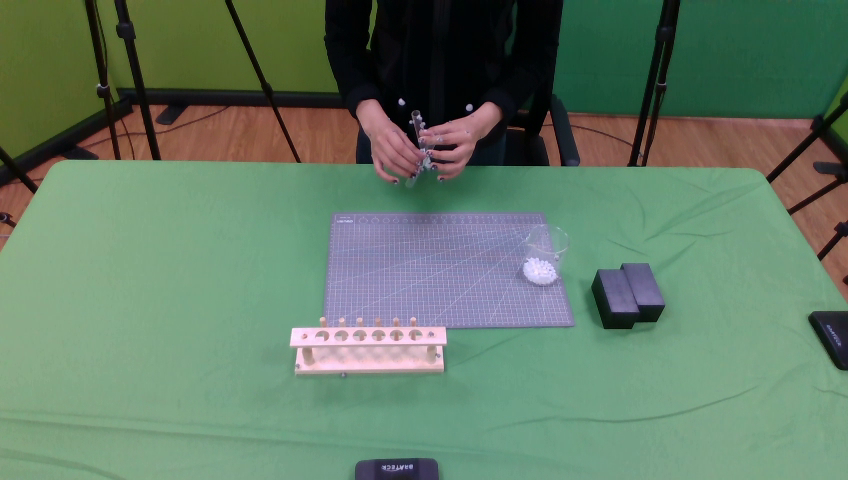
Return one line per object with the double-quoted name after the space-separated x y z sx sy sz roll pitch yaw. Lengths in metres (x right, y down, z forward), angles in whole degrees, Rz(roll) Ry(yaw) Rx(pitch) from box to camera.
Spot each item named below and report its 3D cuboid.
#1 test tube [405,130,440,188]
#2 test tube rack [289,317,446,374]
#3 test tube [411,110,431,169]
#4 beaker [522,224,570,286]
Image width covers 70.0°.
-0.005 -0.145 1.115 0.017 0.151 0.017 13 51 -17 "test tube"
-0.089 0.167 0.988 0.242 0.085 0.066 0 46 -4 "test tube rack"
-0.004 -0.181 1.113 0.017 0.151 0.017 -4 57 7 "test tube"
0.221 0.032 1.129 0.084 0.101 0.073 -6 46 -9 "beaker"
